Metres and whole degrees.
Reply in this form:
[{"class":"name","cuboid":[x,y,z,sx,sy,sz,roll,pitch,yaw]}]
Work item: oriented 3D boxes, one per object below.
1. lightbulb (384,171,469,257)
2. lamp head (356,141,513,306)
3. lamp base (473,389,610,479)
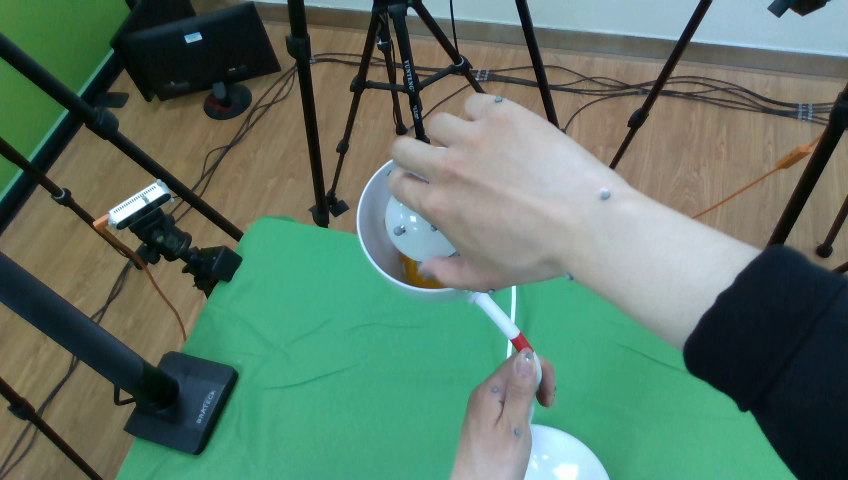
[{"class":"lightbulb","cuboid":[0.004,-0.011,0.447,0.059,0.108,0.059,-1,73,4]},{"class":"lamp head","cuboid":[0.013,0.001,0.476,0.112,0.124,0.111,-2,67,6]},{"class":"lamp base","cuboid":[0.121,0.240,0.643,0.161,0.182,0.177,-24,56,-7]}]
